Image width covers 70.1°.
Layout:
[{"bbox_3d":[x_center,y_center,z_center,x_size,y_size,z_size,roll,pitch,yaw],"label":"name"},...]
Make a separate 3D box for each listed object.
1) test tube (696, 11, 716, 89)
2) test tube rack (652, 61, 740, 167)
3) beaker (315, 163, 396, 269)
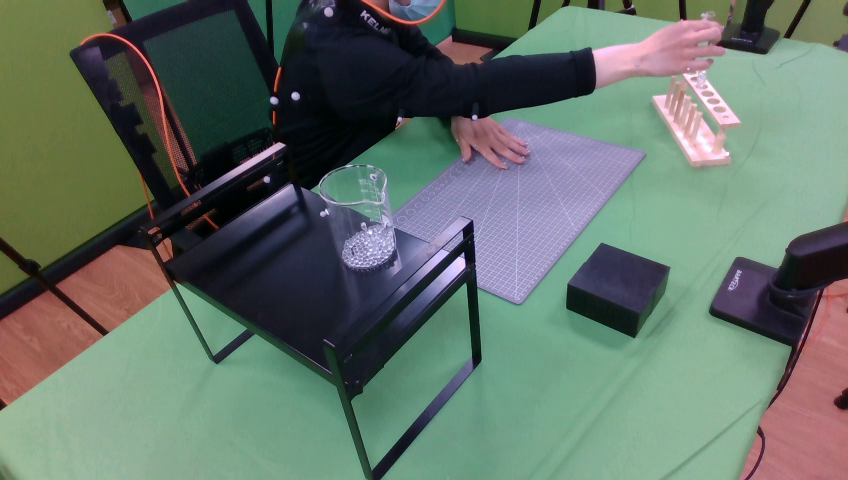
[{"bbox_3d":[0.498,-0.330,1.069,0.017,0.151,0.017,-8,44,8],"label":"test tube"},{"bbox_3d":[0.499,-0.241,1.130,0.067,0.085,0.241,-5,41,4],"label":"test tube rack"},{"bbox_3d":[-0.069,-0.024,0.671,0.083,0.101,0.074,27,52,32],"label":"beaker"}]
